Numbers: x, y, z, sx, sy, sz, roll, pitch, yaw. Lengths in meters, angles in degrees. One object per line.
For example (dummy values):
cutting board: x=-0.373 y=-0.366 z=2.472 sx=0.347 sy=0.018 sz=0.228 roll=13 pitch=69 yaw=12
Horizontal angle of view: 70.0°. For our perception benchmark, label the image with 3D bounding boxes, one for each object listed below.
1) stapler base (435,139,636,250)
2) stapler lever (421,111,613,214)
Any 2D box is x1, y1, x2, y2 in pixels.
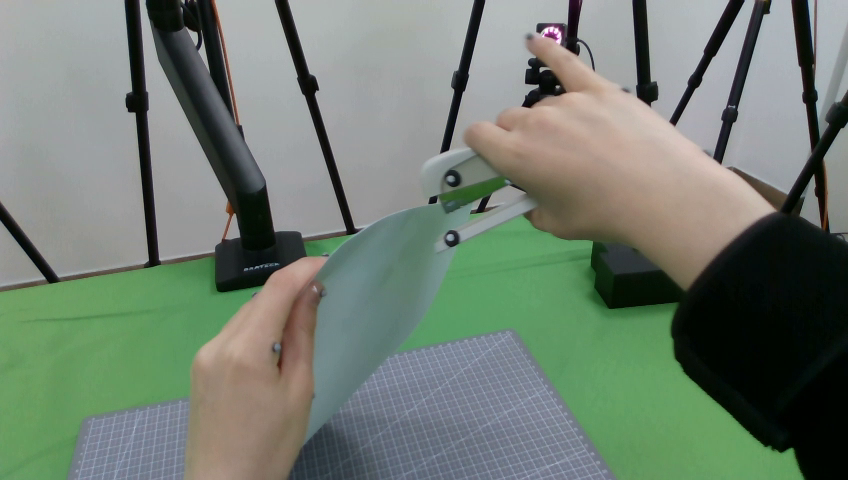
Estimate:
stapler base: x=0.061 y=-0.030 z=0.366 sx=0.130 sy=0.024 sz=0.041 roll=-24 pitch=4 yaw=26
stapler lever: x=0.051 y=-0.053 z=0.364 sx=0.118 sy=0.040 sz=0.027 roll=-25 pitch=4 yaw=26
